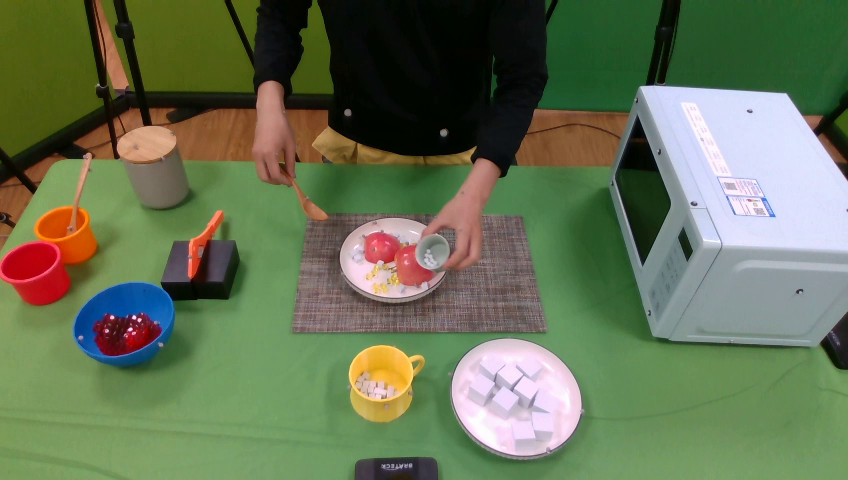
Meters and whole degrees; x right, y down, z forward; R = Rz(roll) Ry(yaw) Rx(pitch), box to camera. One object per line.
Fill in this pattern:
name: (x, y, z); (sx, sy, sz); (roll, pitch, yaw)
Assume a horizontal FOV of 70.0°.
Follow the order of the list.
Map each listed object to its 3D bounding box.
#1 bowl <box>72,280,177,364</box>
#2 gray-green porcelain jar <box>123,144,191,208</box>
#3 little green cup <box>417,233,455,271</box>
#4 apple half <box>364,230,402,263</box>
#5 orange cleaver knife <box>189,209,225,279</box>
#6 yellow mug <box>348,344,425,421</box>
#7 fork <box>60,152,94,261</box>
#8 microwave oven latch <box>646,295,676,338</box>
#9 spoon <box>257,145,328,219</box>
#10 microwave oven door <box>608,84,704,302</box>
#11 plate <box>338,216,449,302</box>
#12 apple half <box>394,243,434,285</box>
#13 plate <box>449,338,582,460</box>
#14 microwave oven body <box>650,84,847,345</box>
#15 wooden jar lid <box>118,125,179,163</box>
bowl: (-0.472, 0.147, 0.982); (0.151, 0.077, 0.150); (2, 46, -2)
gray-green porcelain jar: (-0.530, -0.137, 1.213); (0.106, 0.127, 0.105); (2, 46, -2)
little green cup: (0.022, 0.023, 1.020); (0.061, 0.039, 0.061); (-7, 71, 21)
apple half: (-0.079, 0.004, 1.159); (0.081, 0.033, 0.081); (3, 49, -3)
orange cleaver knife: (-0.400, 0.002, 1.122); (0.012, 0.077, 0.210); (4, 23, -4)
yellow mug: (-0.054, 0.217, 0.954); (0.131, 0.064, 0.099); (-24, 53, -25)
fork: (-0.638, -0.063, 1.119); (0.028, 0.018, 0.207); (12, 90, 8)
microwave oven latch: (0.413, 0.133, 1.061); (0.030, 0.029, 0.078); (4, 46, 1)
spoon: (-0.247, -0.109, 1.129); (0.193, 0.021, 0.041); (51, 32, 8)
microwave oven door: (0.424, -0.096, 1.138); (0.039, 0.245, 0.353); (2, 47, -1)
plate: (-0.054, 0.038, 1.138); (0.209, 0.038, 0.208); (2, 46, -2)
apple half: (-0.016, 0.037, 1.121); (0.075, 0.053, 0.080); (1, 46, -6)
plate: (0.141, 0.251, 0.955); (0.208, 0.039, 0.206); (2, 47, -2)
microwave oven body: (0.569, -0.054, 1.116); (0.326, 0.261, 0.439); (2, 46, -1)
wooden jar lid: (-0.528, -0.181, 1.167); (0.108, 0.021, 0.107); (4, 48, -4)
